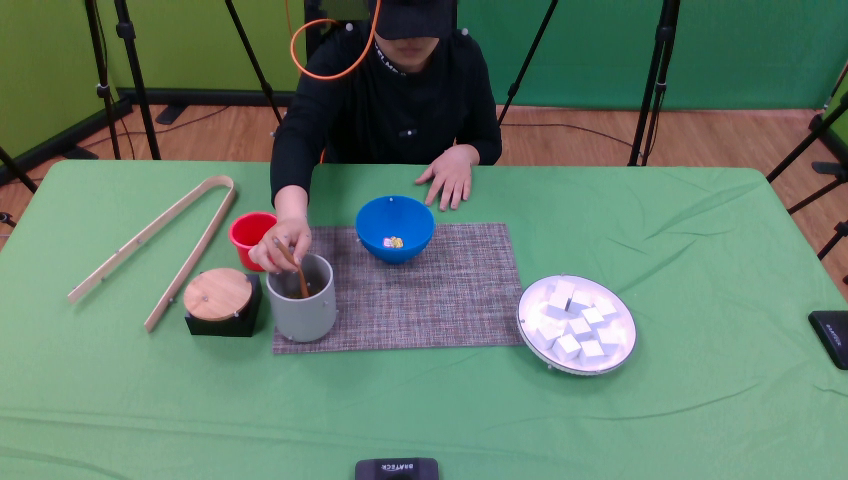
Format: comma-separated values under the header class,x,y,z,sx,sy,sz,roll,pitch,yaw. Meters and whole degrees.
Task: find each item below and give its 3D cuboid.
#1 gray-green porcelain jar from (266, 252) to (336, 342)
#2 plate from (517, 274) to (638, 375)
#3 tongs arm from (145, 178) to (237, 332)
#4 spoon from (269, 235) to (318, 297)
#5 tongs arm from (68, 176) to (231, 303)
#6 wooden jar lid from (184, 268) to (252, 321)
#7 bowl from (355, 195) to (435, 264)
class,x,y,z,sx,sy,sz,roll,pitch,yaw
gray-green porcelain jar,-0.202,0.100,1.009,0.106,0.127,0.105,2,45,-2
plate,0.264,0.149,1.060,0.209,0.038,0.208,3,46,-3
tongs arm,-0.432,0.014,1.149,0.028,0.028,0.385,8,46,7
spoon,-0.203,0.049,0.981,0.021,0.195,0.041,-26,49,-6
tongs arm,-0.510,-0.010,1.162,0.050,0.026,0.383,20,47,14
wooden jar lid,-0.343,0.093,1.015,0.108,0.021,0.107,3,46,-3
bowl,-0.056,-0.008,1.158,0.151,0.077,0.150,2,46,-2
